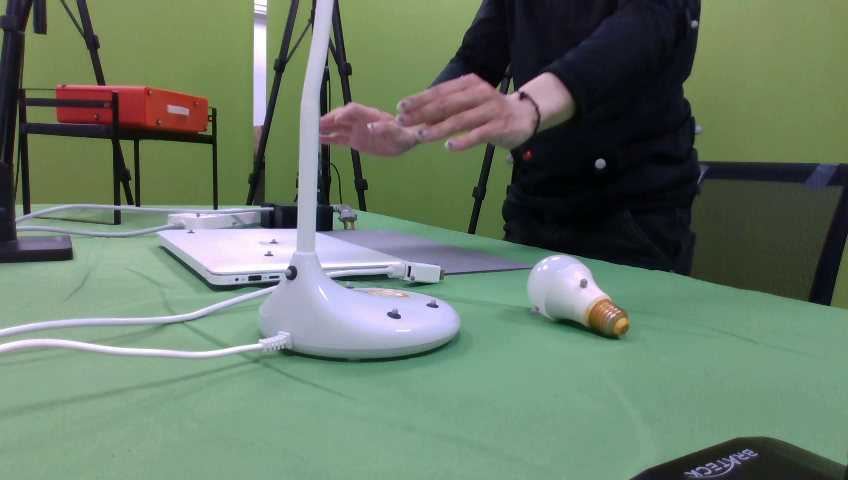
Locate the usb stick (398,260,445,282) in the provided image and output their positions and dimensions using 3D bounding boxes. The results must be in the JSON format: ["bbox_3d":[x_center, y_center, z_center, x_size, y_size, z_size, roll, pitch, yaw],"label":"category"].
[{"bbox_3d":[0.000,0.036,0.696,0.027,0.021,0.059,6,-1,43],"label":"usb stick"}]

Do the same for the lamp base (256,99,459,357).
[{"bbox_3d":[-0.055,-0.014,0.463,0.160,0.180,0.180,6,11,27],"label":"lamp base"}]

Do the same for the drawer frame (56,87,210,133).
[{"bbox_3d":[-0.598,-0.269,1.261,0.213,0.082,0.202,4,8,14],"label":"drawer frame"}]

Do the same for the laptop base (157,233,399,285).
[{"bbox_3d":[-0.204,0.019,0.807,0.237,0.023,0.352,0,7,-33],"label":"laptop base"}]

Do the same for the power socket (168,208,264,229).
[{"bbox_3d":[-0.381,-0.038,1.128,0.072,0.032,0.227,4,8,16],"label":"power socket"}]

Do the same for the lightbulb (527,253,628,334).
[{"bbox_3d":[0.137,0.050,0.534,0.060,0.059,0.107,-3,24,-33],"label":"lightbulb"}]

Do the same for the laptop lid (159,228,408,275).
[{"bbox_3d":[-0.201,0.007,0.806,0.243,0.013,0.355,-1,8,-31],"label":"laptop lid"}]

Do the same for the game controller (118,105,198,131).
[{"bbox_3d":[-0.554,-0.253,1.254,0.097,0.051,0.155,6,11,19],"label":"game controller"}]

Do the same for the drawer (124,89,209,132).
[{"bbox_3d":[-0.595,-0.268,1.263,0.211,0.073,0.195,4,8,15],"label":"drawer"}]

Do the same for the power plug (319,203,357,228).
[{"bbox_3d":[-0.170,-0.046,1.209,0.073,0.052,0.035,-6,-17,-9],"label":"power plug"}]
